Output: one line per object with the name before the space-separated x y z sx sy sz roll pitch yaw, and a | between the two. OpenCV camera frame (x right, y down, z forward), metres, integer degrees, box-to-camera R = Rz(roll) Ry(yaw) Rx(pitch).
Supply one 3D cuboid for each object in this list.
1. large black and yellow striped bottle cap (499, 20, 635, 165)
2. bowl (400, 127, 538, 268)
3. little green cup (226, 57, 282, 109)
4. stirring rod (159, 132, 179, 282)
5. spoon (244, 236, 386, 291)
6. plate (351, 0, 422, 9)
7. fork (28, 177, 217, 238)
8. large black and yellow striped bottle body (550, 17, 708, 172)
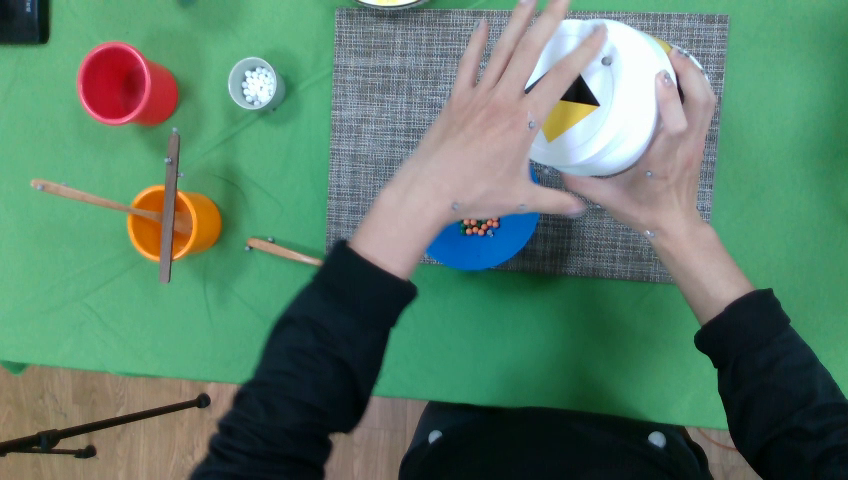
large black and yellow striped bottle cap | 0.112 -0.118 0.492 0.114 0.019 0.115 8 102 41
bowl | 0.054 -0.047 0.687 0.151 0.077 0.151 1 95 10
little green cup | -0.205 -0.189 0.741 0.061 0.038 0.061 1 94 10
stirring rod | -0.299 -0.037 0.709 0.014 0.006 0.176 6 95 7
spoon | -0.138 0.023 0.755 0.193 0.021 0.042 15 110 7
plate | -0.039 -0.371 0.700 0.209 0.038 0.209 1 95 9
fork | -0.350 -0.038 0.720 0.209 0.018 0.028 17 102 -36
large black and yellow striped bottle body | 0.167 -0.128 0.556 0.130 0.185 0.131 7 100 40
